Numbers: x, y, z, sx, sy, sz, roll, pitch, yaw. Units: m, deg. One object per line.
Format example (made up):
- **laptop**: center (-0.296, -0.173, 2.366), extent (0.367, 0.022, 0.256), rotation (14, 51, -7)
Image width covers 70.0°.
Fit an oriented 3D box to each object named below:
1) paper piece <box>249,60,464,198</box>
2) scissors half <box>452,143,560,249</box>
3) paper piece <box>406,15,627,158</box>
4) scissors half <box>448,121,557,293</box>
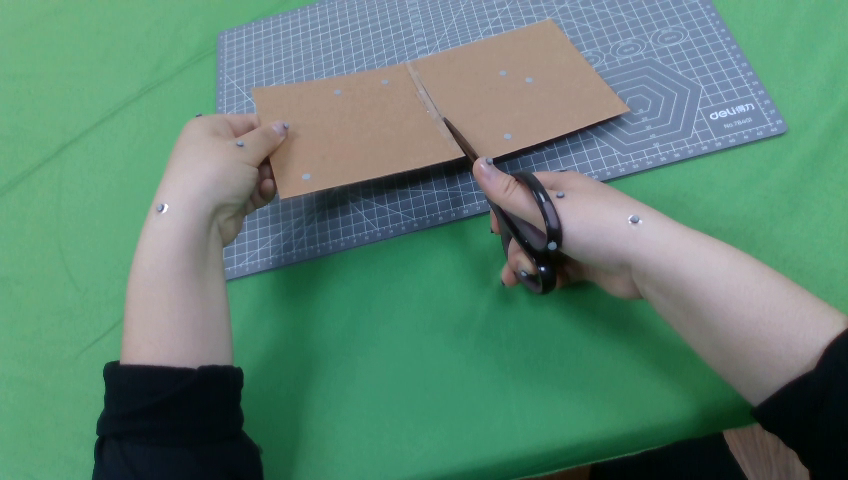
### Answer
- **paper piece**: center (-0.057, -0.092, 0.464), extent (0.138, 0.009, 0.134), rotation (-16, 45, -10)
- **scissors half**: center (0.043, -0.048, 0.408), extent (0.013, 0.040, 0.173), rotation (-17, 34, -14)
- **paper piece**: center (0.070, -0.129, 0.490), extent (0.135, 0.004, 0.134), rotation (-19, 55, -8)
- **scissors half**: center (0.045, -0.033, 0.423), extent (0.013, 0.040, 0.173), rotation (-21, 59, -10)
